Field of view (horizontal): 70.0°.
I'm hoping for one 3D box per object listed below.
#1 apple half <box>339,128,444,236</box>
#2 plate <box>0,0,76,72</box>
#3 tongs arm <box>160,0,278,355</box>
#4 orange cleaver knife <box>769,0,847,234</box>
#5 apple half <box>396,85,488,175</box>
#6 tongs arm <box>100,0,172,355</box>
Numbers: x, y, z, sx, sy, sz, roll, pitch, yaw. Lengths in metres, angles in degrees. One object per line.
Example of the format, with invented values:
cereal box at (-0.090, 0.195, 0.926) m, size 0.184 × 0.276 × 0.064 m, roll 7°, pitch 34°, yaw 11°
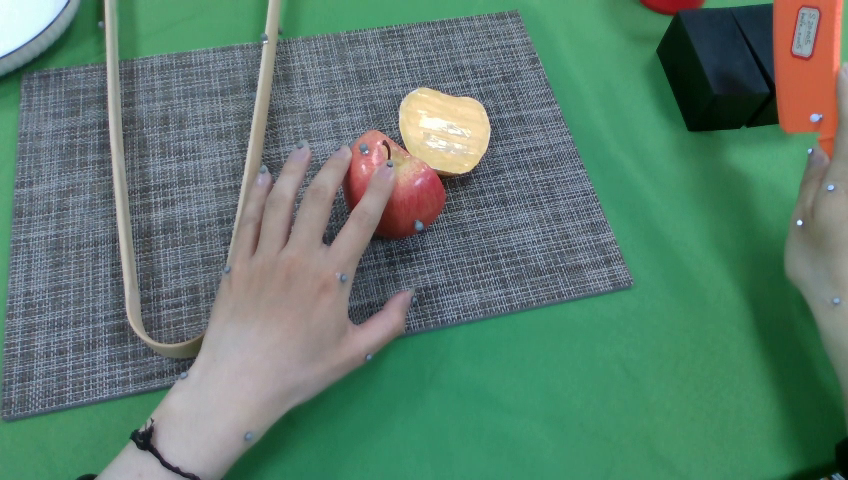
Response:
apple half at (-0.031, -0.034, 0.446) m, size 0.080 × 0.075 × 0.053 m, roll 37°, pitch 70°, yaw 11°
plate at (-0.409, -0.210, 0.530) m, size 0.209 × 0.038 × 0.207 m, roll 2°, pitch 62°, yaw -3°
tongs arm at (-0.155, -0.097, 0.492) m, size 0.051 × 0.027 × 0.381 m, roll 0°, pitch 64°, yaw -5°
orange cleaver knife at (0.294, -0.110, 0.461) m, size 0.012 × 0.077 × 0.211 m, roll -10°, pitch 95°, yaw -8°
apple half at (0.011, -0.085, 0.498) m, size 0.081 × 0.033 × 0.081 m, roll 4°, pitch 74°, yaw -13°
tongs arm at (-0.239, -0.089, 0.484) m, size 0.028 × 0.028 × 0.384 m, roll -12°, pitch 65°, yaw -14°
